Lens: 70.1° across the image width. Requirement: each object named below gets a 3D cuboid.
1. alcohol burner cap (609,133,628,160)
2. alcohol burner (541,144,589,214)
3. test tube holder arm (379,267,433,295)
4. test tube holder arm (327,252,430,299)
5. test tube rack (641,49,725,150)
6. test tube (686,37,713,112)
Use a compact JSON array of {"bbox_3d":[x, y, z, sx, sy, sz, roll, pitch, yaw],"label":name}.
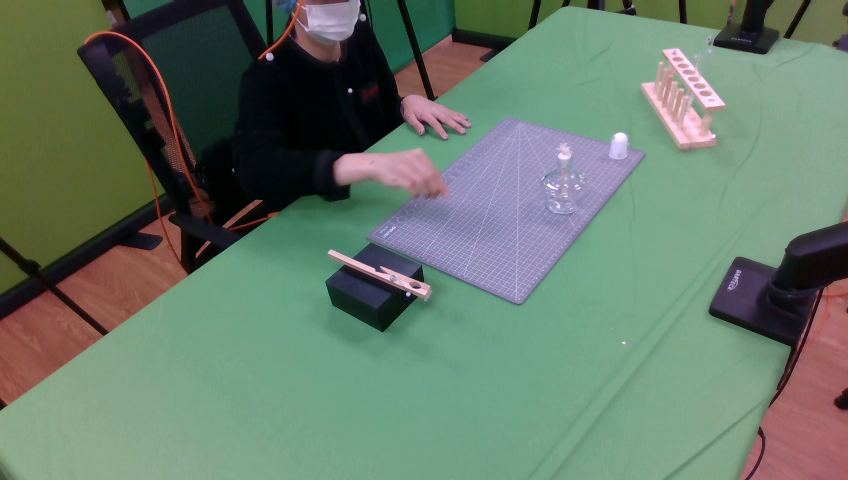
[{"bbox_3d":[0.356,-0.172,1.100,0.034,0.048,0.033,-5,41,5],"label":"alcohol burner cap"},{"bbox_3d":[0.229,-0.102,0.983,0.078,0.119,0.077,-6,41,5],"label":"alcohol burner"},{"bbox_3d":[-0.027,0.057,0.837,0.087,0.015,0.010,18,54,28],"label":"test tube holder arm"},{"bbox_3d":[-0.068,0.049,0.855,0.177,0.015,0.013,18,54,27],"label":"test tube holder arm"},{"bbox_3d":[0.495,-0.279,1.175,0.067,0.085,0.241,-5,41,3],"label":"test tube rack"},{"bbox_3d":[0.509,-0.306,1.128,0.017,0.151,0.017,-1,45,1],"label":"test tube"}]
